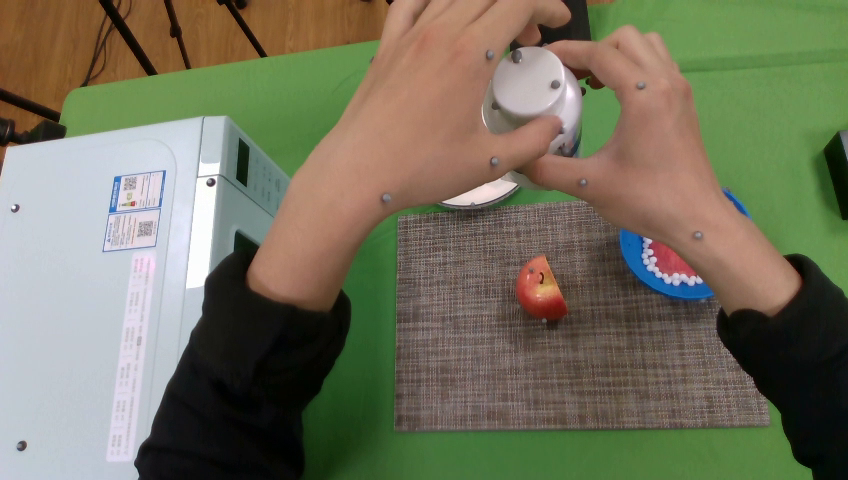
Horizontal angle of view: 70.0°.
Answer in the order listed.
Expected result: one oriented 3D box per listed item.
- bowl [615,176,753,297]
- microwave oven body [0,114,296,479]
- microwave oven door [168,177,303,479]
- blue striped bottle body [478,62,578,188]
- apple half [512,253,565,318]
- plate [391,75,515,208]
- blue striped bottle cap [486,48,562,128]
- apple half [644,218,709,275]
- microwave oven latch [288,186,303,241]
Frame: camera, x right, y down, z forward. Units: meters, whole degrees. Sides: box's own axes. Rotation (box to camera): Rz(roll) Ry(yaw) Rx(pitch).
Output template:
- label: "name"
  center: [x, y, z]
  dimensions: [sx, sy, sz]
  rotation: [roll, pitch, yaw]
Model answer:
- label: "bowl"
  center: [0.311, 0.005, 0.745]
  dimensions: [0.151, 0.077, 0.150]
  rotation: [-4, 71, 12]
- label: "microwave oven body"
  center: [-0.353, 0.112, 0.762]
  dimensions: [0.325, 0.262, 0.438]
  rotation: [-6, 71, 10]
- label: "microwave oven door"
  center: [-0.210, 0.135, 0.716]
  dimensions: [0.039, 0.246, 0.353]
  rotation: [-6, 70, 11]
- label: "blue striped bottle body"
  center: [0.073, -0.081, 0.415]
  dimensions: [0.063, 0.121, 0.063]
  rotation: [-3, 79, 14]
- label: "apple half"
  center: [0.140, 0.064, 0.767]
  dimensions: [0.053, 0.075, 0.080]
  rotation: [-24, 72, 8]
- label: "plate"
  center: [0.057, -0.140, 0.879]
  dimensions: [0.207, 0.039, 0.206]
  rotation: [-4, 71, 11]
- label: "blue striped bottle cap"
  center: [0.059, -0.091, 0.362]
  dimensions: [0.044, 0.021, 0.044]
  rotation: [-3, 76, 14]
- label: "apple half"
  center: [0.311, 0.004, 0.740]
  dimensions: [0.081, 0.033, 0.080]
  rotation: [-4, 69, 11]
- label: "microwave oven latch"
  center: [-0.192, -0.038, 0.881]
  dimensions: [0.030, 0.030, 0.078]
  rotation: [-6, 71, 10]
